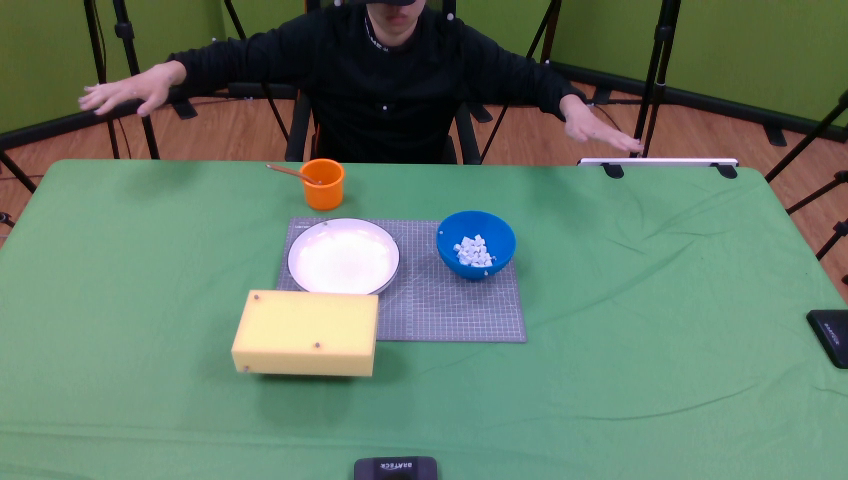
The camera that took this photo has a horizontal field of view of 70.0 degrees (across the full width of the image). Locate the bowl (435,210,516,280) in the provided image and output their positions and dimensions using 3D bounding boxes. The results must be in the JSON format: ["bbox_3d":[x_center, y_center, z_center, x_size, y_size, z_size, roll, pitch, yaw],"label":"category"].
[{"bbox_3d":[0.093,0.022,1.141,0.151,0.077,0.150,2,46,-2],"label":"bowl"}]

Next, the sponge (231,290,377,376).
[{"bbox_3d":[-0.180,0.144,0.949,0.207,0.061,0.117,2,46,-2],"label":"sponge"}]

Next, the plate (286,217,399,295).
[{"bbox_3d":[-0.150,0.041,1.131,0.209,0.038,0.208,2,45,-2],"label":"plate"}]

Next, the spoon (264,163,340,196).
[{"bbox_3d":[-0.241,-0.123,1.210,0.021,0.195,0.041,-48,54,13],"label":"spoon"}]
